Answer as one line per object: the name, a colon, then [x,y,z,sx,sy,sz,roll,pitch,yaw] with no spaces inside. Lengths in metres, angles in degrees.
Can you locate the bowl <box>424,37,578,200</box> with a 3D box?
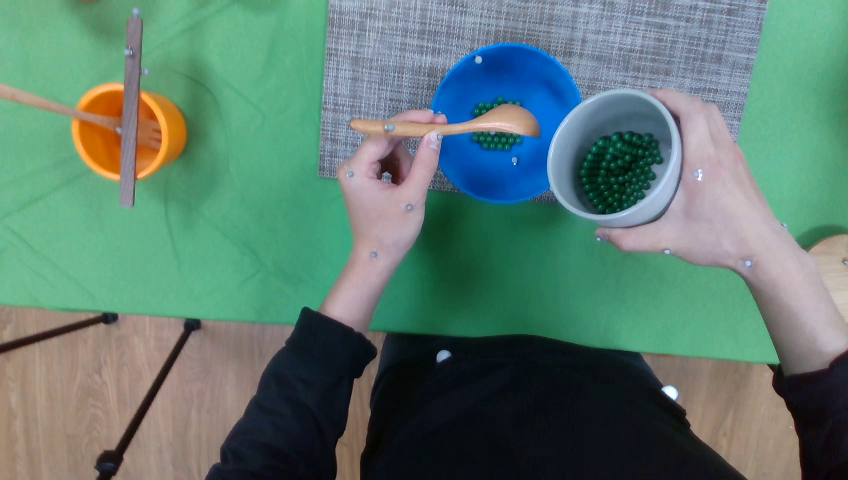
bowl: [0.074,-0.121,0.614,0.151,0.076,0.152,0,104,-1]

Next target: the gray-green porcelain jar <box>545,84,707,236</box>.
gray-green porcelain jar: [0.178,-0.062,0.521,0.105,0.127,0.105,-7,78,36]

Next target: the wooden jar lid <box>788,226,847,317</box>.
wooden jar lid: [0.470,0.036,0.698,0.108,0.020,0.109,0,104,-1]

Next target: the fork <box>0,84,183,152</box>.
fork: [-0.329,-0.120,0.570,0.209,0.018,0.028,13,110,-49]

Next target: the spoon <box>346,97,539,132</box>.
spoon: [0.023,-0.099,0.502,0.194,0.041,0.022,-12,151,-30]

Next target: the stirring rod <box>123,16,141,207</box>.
stirring rod: [-0.275,-0.118,0.570,0.014,0.006,0.176,7,104,-2]
